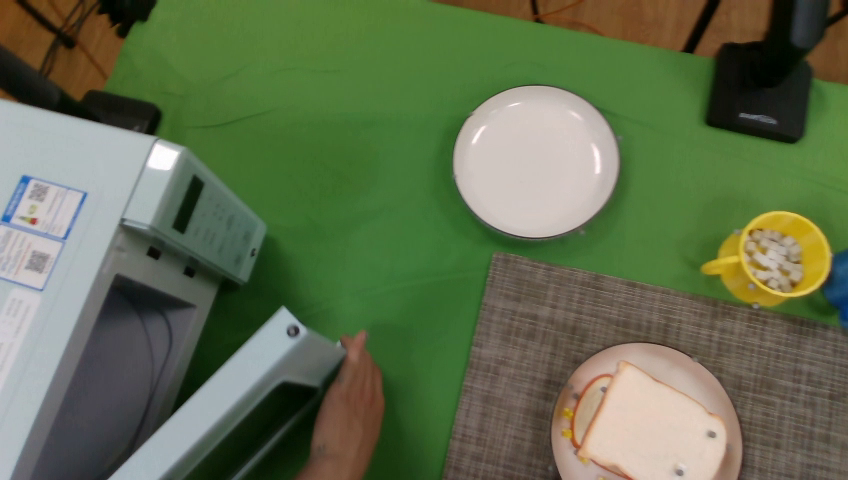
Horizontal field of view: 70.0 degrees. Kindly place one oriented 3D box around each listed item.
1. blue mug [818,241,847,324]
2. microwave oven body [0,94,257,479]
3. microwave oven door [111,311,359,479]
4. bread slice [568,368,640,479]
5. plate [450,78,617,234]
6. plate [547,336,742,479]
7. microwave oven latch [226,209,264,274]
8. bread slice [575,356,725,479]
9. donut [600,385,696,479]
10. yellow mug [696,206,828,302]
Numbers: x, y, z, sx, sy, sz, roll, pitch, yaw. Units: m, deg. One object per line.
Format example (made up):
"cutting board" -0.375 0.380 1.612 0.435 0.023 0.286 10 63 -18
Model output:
"blue mug" 0.501 0.044 0.673 0.082 0.106 0.116 34 80 12
"microwave oven body" -0.420 0.103 0.628 0.325 0.261 0.440 15 77 7
"microwave oven door" -0.220 0.216 0.581 0.039 0.245 0.355 43 81 14
"bread slice" 0.229 0.208 0.678 0.131 0.019 0.104 26 78 8
"plate" 0.136 -0.104 0.769 0.207 0.039 0.206 -1 75 3
"plate" 0.241 0.212 0.675 0.209 0.038 0.208 -1 75 3
"microwave oven latch" -0.223 0.000 0.743 0.030 0.029 0.079 17 77 7
"bread slice" 0.236 0.192 0.619 0.134 0.018 0.107 24 84 4
"donut" 0.238 0.206 0.648 0.099 0.048 0.098 -1 74 3
"yellow mug" 0.386 0.020 0.706 0.131 0.064 0.099 -8 74 2
